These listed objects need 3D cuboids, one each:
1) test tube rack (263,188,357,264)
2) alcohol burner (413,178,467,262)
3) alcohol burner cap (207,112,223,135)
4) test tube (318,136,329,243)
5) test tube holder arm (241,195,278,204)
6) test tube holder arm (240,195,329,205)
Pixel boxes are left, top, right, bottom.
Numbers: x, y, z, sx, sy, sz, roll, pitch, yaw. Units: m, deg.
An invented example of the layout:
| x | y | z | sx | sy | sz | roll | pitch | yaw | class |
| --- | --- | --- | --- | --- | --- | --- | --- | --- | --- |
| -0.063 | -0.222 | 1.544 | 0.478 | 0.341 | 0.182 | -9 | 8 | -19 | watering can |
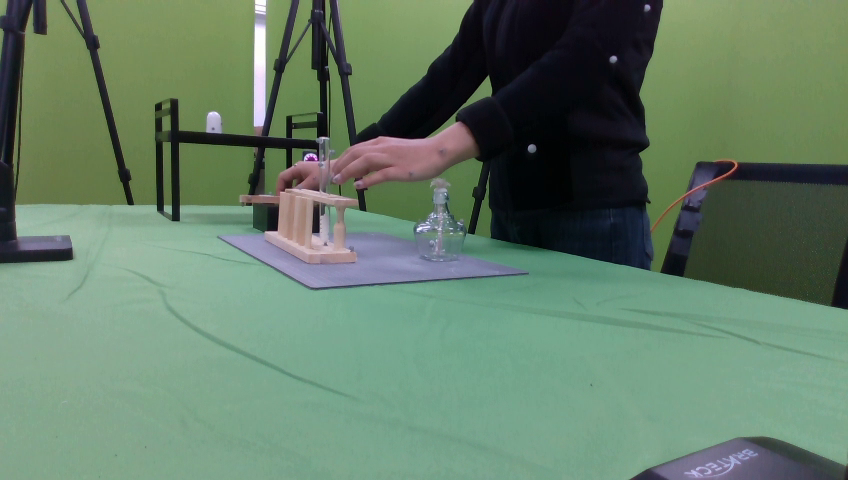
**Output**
| x | y | z | sx | sy | sz | roll | pitch | yaw | class |
| --- | --- | --- | --- | --- | --- | --- | --- | --- | --- |
| -0.175 | -0.027 | 0.890 | 0.067 | 0.085 | 0.241 | -1 | 8 | -28 | test tube rack |
| 0.023 | -0.029 | 0.864 | 0.078 | 0.119 | 0.078 | 1 | 6 | 0 | alcohol burner |
| -0.440 | -0.245 | 1.271 | 0.034 | 0.048 | 0.034 | 1 | 7 | 0 | alcohol burner cap |
| -0.142 | -0.070 | 0.852 | 0.017 | 0.150 | 0.017 | 1 | 7 | 0 | test tube |
| -0.295 | -0.075 | 1.123 | 0.088 | 0.015 | 0.010 | -1 | 14 | -34 | test tube holder arm |
| -0.261 | -0.077 | 1.153 | 0.179 | 0.015 | 0.013 | -1 | 14 | -35 | test tube holder arm |
